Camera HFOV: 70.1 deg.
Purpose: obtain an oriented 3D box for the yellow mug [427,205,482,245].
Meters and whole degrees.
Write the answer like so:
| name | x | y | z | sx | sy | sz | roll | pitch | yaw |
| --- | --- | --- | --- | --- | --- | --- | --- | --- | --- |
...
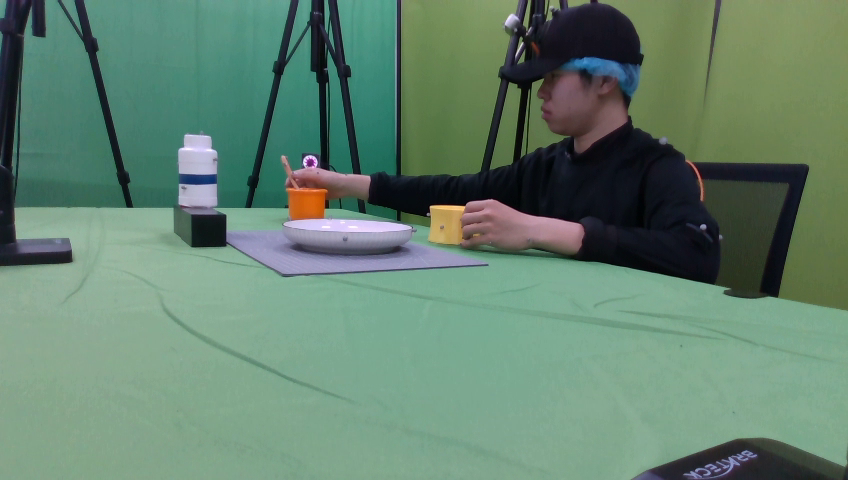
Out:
| name | x | y | z | sx | sy | sz | roll | pitch | yaw |
| --- | --- | --- | --- | --- | --- | --- | --- | --- | --- |
| yellow mug | 0.062 | -0.028 | 1.111 | 0.100 | 0.064 | 0.130 | 0 | 8 | -20 |

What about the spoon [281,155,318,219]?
| name | x | y | z | sx | sy | sz | roll | pitch | yaw |
| --- | --- | --- | --- | --- | --- | --- | --- | --- | --- |
| spoon | -0.288 | -0.121 | 1.365 | 0.042 | 0.021 | 0.193 | -9 | 53 | -38 |

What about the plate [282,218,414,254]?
| name | x | y | z | sx | sy | sz | roll | pitch | yaw |
| --- | --- | --- | --- | --- | --- | --- | --- | --- | --- |
| plate | -0.121 | -0.007 | 0.971 | 0.208 | 0.039 | 0.207 | 2 | 7 | 0 |

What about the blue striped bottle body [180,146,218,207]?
| name | x | y | z | sx | sy | sz | roll | pitch | yaw |
| --- | --- | --- | --- | --- | --- | --- | --- | --- | --- |
| blue striped bottle body | -0.392 | -0.119 | 1.053 | 0.063 | 0.120 | 0.063 | 2 | 8 | 0 |

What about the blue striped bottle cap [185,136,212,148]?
| name | x | y | z | sx | sy | sz | roll | pitch | yaw |
| --- | --- | --- | --- | --- | --- | --- | --- | --- | --- |
| blue striped bottle cap | -0.390 | -0.169 | 1.047 | 0.044 | 0.020 | 0.044 | 4 | 10 | 0 |
